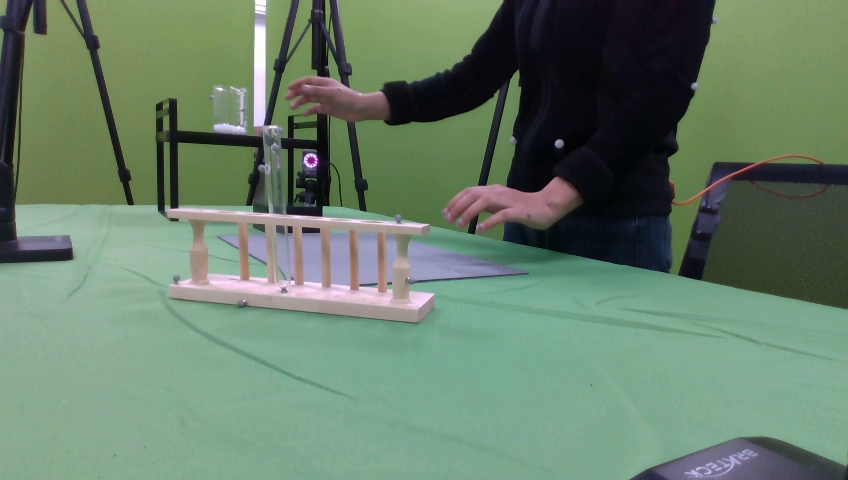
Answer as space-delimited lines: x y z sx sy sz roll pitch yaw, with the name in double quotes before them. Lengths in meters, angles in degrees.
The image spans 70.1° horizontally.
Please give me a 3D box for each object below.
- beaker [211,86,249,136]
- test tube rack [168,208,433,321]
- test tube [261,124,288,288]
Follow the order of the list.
"beaker" -0.413 -0.274 1.298 0.074 0.100 0.083 -5 11 -44
"test tube rack" -0.115 0.017 0.574 0.242 0.085 0.067 4 8 13
"test tube" -0.137 -0.030 0.555 0.017 0.150 0.017 -2 9 1
